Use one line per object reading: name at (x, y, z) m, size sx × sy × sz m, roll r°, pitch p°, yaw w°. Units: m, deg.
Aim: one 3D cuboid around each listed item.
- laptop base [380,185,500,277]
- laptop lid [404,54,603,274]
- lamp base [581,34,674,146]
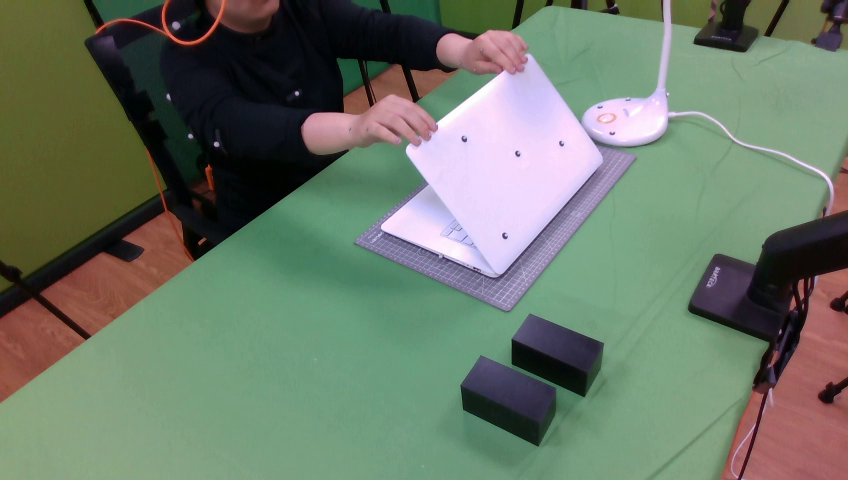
laptop base at (0.122, -0.077, 1.043) m, size 0.233 × 0.023 × 0.355 m, roll 20°, pitch 47°, yaw 33°
laptop lid at (0.145, -0.136, 0.959) m, size 0.358 × 0.242 × 0.013 m, roll -41°, pitch 8°, yaw -35°
lamp base at (0.392, -0.291, 1.129) m, size 0.180 × 0.181 × 0.159 m, roll -11°, pitch 41°, yaw -8°
